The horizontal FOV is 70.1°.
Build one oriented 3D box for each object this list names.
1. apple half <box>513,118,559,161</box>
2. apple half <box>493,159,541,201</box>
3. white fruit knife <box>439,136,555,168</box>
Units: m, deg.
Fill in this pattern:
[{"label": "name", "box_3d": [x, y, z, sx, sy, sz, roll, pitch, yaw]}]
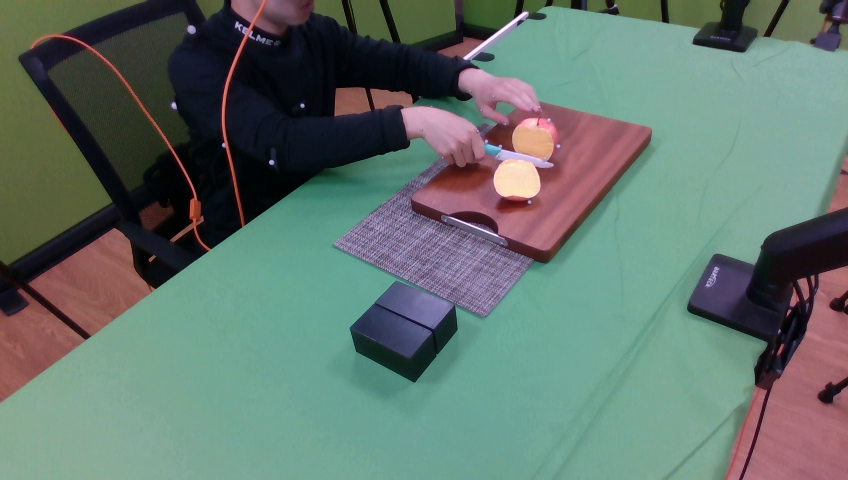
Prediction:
[{"label": "apple half", "box_3d": [0.202, -0.179, 1.066, 0.080, 0.075, 0.053, 14, 41, 28]}, {"label": "apple half", "box_3d": [0.153, -0.095, 0.999, 0.081, 0.033, 0.081, -1, 64, 2]}, {"label": "white fruit knife", "box_3d": [0.126, -0.153, 1.055, 0.207, 0.027, 0.016, 15, 45, 12]}]
